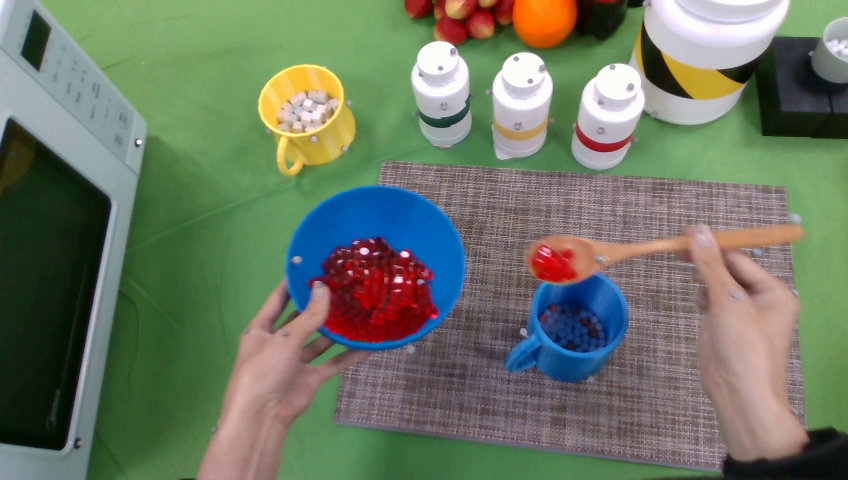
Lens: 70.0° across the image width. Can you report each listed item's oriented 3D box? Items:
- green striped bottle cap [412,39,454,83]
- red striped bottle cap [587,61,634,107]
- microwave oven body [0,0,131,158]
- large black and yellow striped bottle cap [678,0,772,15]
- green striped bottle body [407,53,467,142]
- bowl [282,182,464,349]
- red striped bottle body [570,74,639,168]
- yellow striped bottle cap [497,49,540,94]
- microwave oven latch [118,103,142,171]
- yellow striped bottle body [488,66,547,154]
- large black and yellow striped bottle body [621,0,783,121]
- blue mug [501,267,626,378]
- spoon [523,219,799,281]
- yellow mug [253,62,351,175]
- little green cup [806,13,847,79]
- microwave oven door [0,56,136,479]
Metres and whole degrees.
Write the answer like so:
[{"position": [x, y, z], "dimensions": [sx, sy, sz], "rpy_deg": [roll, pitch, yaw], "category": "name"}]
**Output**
[{"position": [0.009, -0.188, 0.633], "dimensions": [0.044, 0.020, 0.044], "rpy_deg": [-2, 66, 4], "category": "green striped bottle cap"}, {"position": [0.185, -0.155, 0.600], "dimensions": [0.044, 0.018, 0.044], "rpy_deg": [-1, 66, 2], "category": "red striped bottle cap"}, {"position": [-0.512, 0.013, 0.582], "dimensions": [0.326, 0.262, 0.438], "rpy_deg": [-4, 68, 4], "category": "microwave oven body"}, {"position": [0.280, -0.260, 0.564], "dimensions": [0.115, 0.019, 0.114], "rpy_deg": [-2, 66, 6], "category": "large black and yellow striped bottle cap"}, {"position": [0.015, -0.167, 0.681], "dimensions": [0.063, 0.120, 0.062], "rpy_deg": [-2, 67, 5], "category": "green striped bottle body"}, {"position": [-0.044, 0.032, 0.535], "dimensions": [0.151, 0.077, 0.150], "rpy_deg": [2, 63, -4], "category": "bowl"}, {"position": [0.192, -0.134, 0.648], "dimensions": [0.063, 0.120, 0.062], "rpy_deg": [-3, 65, 8], "category": "red striped bottle body"}, {"position": [0.096, -0.172, 0.617], "dimensions": [0.044, 0.019, 0.044], "rpy_deg": [-2, 69, 5], "category": "yellow striped bottle cap"}, {"position": [-0.361, -0.123, 0.727], "dimensions": [0.030, 0.030, 0.078], "rpy_deg": [-3, 68, 5], "category": "microwave oven latch"}, {"position": [0.102, -0.152, 0.665], "dimensions": [0.063, 0.121, 0.062], "rpy_deg": [-2, 66, 6], "category": "yellow striped bottle body"}, {"position": [0.290, -0.228, 0.642], "dimensions": [0.130, 0.185, 0.130], "rpy_deg": [-2, 67, 6], "category": "large black and yellow striped bottle body"}, {"position": [0.123, 0.087, 0.568], "dimensions": [0.116, 0.106, 0.081], "rpy_deg": [-29, 67, -6], "category": "blue mug"}, {"position": [0.170, 0.003, 0.454], "dimensions": [0.193, 0.022, 0.041], "rpy_deg": [-8, 67, 27], "category": "spoon"}, {"position": [-0.148, -0.137, 0.715], "dimensions": [0.099, 0.064, 0.130], "rpy_deg": [14, 70, 12], "category": "yellow mug"}, {"position": [0.440, -0.203, 0.639], "dimensions": [0.061, 0.039, 0.061], "rpy_deg": [-1, 65, 3], "category": "little green cup"}, {"position": [-0.366, 0.040, 0.550], "dimensions": [0.039, 0.246, 0.353], "rpy_deg": [-4, 67, 5], "category": "microwave oven door"}]
